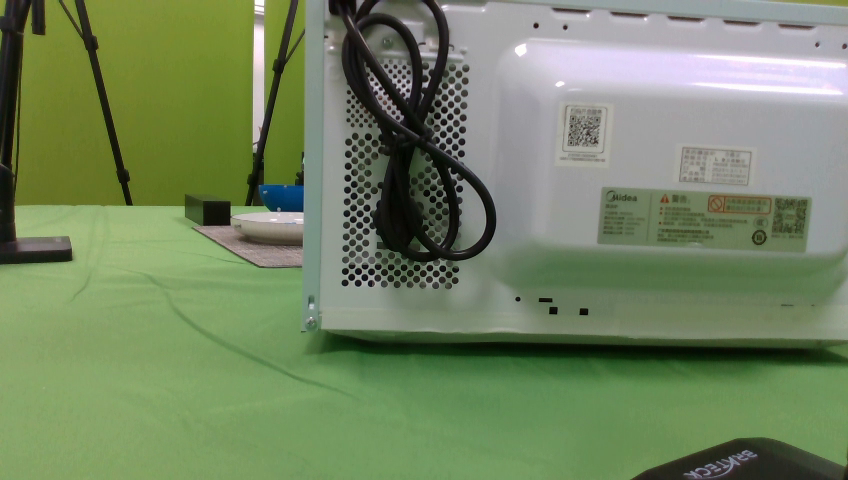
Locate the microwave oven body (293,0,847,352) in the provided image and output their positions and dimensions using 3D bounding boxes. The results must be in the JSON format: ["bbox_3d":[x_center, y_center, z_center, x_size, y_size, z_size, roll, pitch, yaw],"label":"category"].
[{"bbox_3d":[0.122,-0.055,0.550,0.442,0.260,0.325,3,7,-5],"label":"microwave oven body"}]

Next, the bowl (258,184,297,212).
[{"bbox_3d":[-0.286,-0.079,1.327,0.151,0.077,0.151,2,8,0],"label":"bowl"}]

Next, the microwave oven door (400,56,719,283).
[{"bbox_3d":[0.155,-0.078,0.698,0.356,0.243,0.039,2,8,-5],"label":"microwave oven door"}]

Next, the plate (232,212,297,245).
[{"bbox_3d":[-0.214,-0.019,1.018,0.208,0.039,0.207,2,7,0],"label":"plate"}]

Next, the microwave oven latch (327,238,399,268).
[{"bbox_3d":[-0.069,0.015,0.694,0.079,0.029,0.030,3,7,-3],"label":"microwave oven latch"}]
